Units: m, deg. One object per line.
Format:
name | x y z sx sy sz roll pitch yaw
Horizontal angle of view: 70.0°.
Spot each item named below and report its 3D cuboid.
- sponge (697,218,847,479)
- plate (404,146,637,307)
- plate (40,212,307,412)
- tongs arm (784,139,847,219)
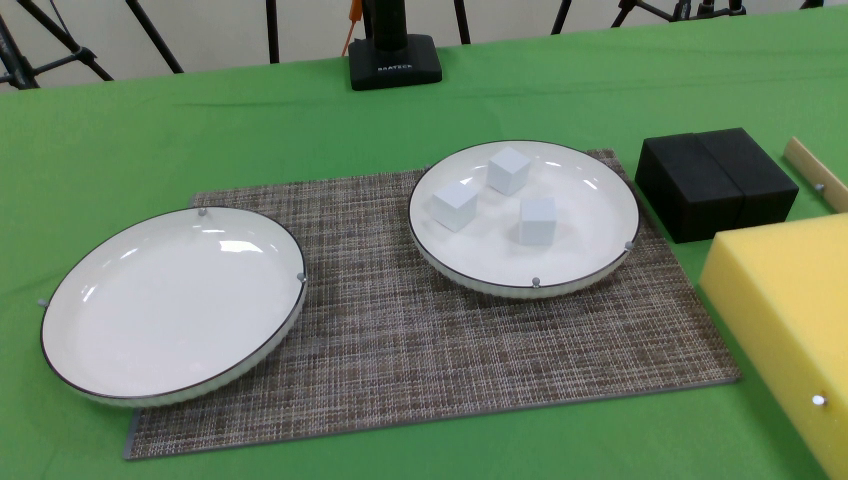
sponge | 0.307 0.079 0.435 0.118 0.061 0.204 -9 44 -6
plate | 0.086 -0.013 0.560 0.207 0.039 0.205 -2 43 2
plate | -0.199 0.057 0.505 0.209 0.038 0.207 -2 43 2
tongs arm | 0.418 0.032 0.500 0.028 0.028 0.383 -7 44 -8
